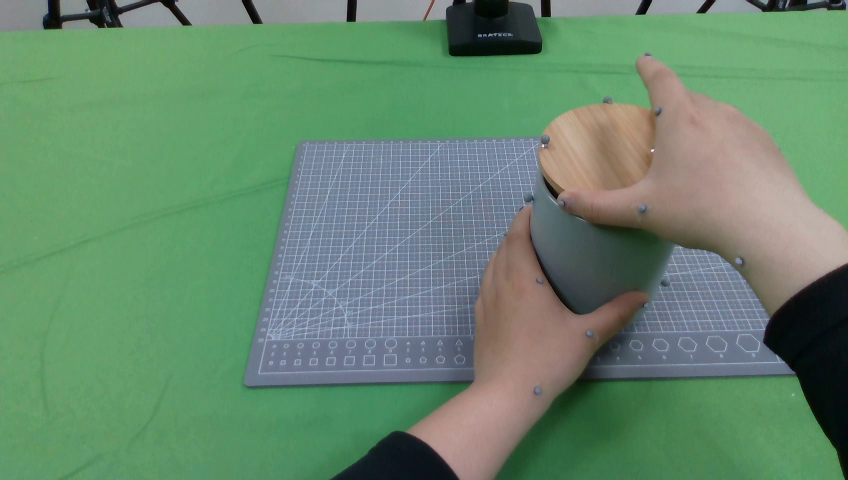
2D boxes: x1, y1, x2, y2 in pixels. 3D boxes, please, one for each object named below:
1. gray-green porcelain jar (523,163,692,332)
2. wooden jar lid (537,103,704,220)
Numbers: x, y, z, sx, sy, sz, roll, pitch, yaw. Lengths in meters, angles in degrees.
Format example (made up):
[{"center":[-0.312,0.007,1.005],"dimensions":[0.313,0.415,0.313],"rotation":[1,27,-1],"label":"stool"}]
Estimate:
[{"center":[0.131,-0.001,0.458],"dimensions":[0.106,0.127,0.105],"rotation":[-1,46,1],"label":"gray-green porcelain jar"},{"center":[0.130,-0.052,0.410],"dimensions":[0.108,0.021,0.107],"rotation":[-2,48,2],"label":"wooden jar lid"}]
